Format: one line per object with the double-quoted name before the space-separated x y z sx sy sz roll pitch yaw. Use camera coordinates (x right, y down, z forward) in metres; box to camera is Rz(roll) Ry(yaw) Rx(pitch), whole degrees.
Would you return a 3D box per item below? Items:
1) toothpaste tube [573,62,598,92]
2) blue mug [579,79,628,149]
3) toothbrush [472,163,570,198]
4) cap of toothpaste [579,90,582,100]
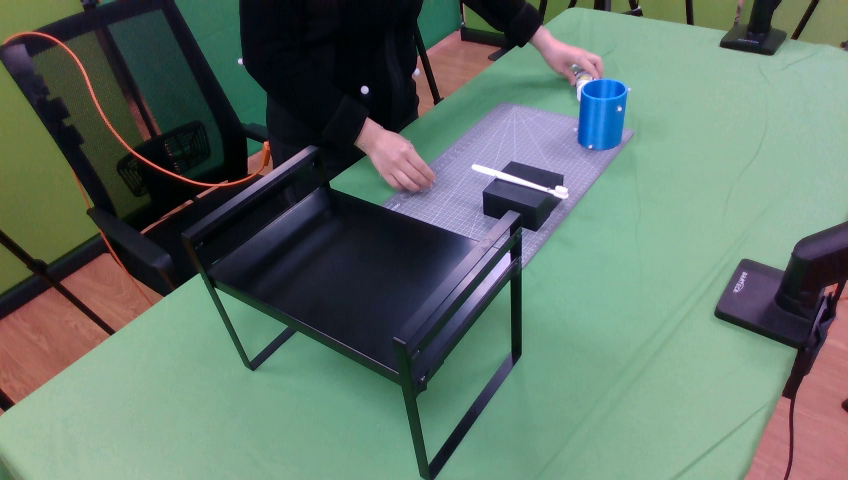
"toothpaste tube" 0.359 -0.356 1.329 0.055 0.034 0.164 7 41 6
"blue mug" 0.336 -0.246 1.143 0.082 0.106 0.116 0 41 10
"toothbrush" 0.157 -0.101 0.996 0.180 0.017 0.014 21 54 30
"cap of toothpaste" 0.344 -0.306 1.270 0.037 0.037 0.011 1 40 11
